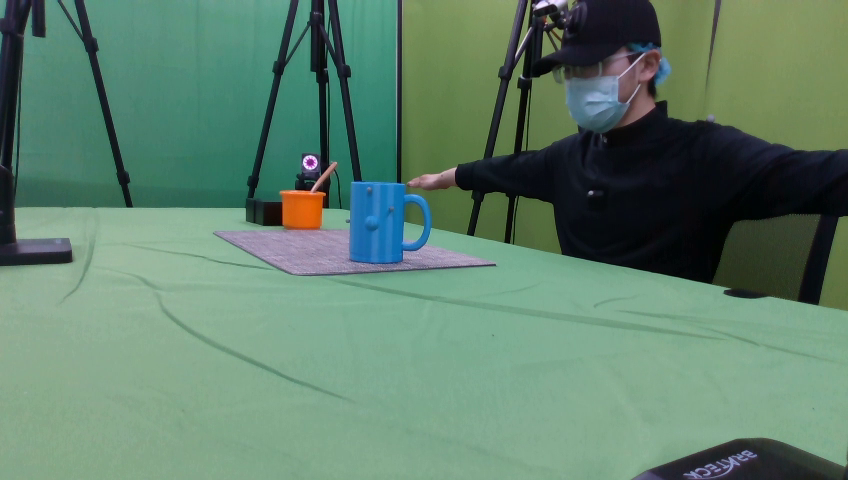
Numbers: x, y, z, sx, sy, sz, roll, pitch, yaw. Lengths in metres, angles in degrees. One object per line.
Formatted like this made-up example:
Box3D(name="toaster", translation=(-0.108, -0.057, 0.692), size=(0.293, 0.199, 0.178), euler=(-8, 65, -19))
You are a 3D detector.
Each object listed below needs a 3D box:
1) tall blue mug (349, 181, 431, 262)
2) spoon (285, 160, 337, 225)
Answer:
Box3D(name="tall blue mug", translation=(-0.051, -0.028, 0.849), size=(0.108, 0.108, 0.077), euler=(-1, 7, -22))
Box3D(name="spoon", translation=(-0.229, -0.101, 1.251), size=(0.041, 0.194, 0.022), euler=(4, -37, 34))
